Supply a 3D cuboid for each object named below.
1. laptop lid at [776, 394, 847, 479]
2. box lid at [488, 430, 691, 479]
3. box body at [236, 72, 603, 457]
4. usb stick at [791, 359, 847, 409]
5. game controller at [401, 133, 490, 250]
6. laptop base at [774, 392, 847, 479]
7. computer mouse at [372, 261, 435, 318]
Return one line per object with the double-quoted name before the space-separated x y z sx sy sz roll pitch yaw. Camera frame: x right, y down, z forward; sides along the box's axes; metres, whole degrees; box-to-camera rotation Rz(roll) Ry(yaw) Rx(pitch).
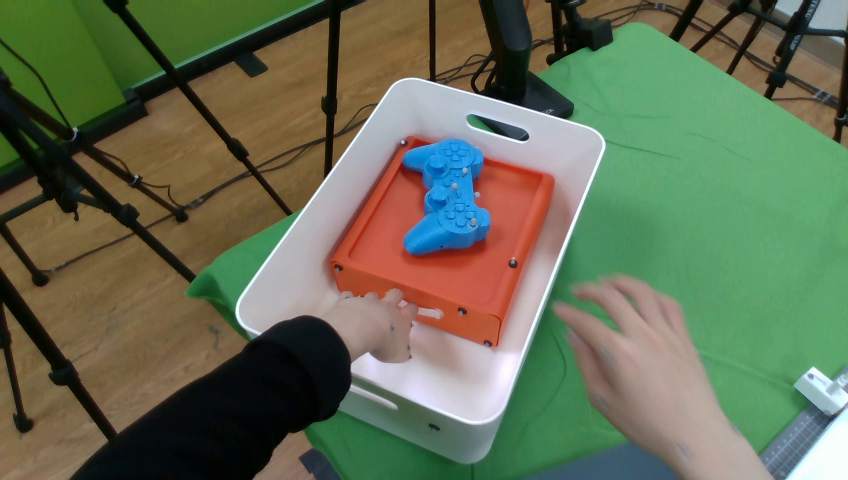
"laptop lid" 0.481 0.317 0.519 0.241 0.013 0.353 -35 62 -18
"box lid" 0.172 0.364 0.512 0.263 0.015 0.367 -16 57 -9
"box body" 0.014 0.016 0.659 0.253 0.162 0.362 20 58 13
"usb stick" 0.417 0.155 0.629 0.021 0.027 0.058 -29 63 -23
"game controller" 0.023 -0.061 0.692 0.097 0.052 0.153 0 55 -3
"laptop base" 0.483 0.322 0.529 0.235 0.023 0.351 -37 63 -18
"computer mouse" -0.022 0.051 0.697 0.063 0.041 0.116 -6 16 8
